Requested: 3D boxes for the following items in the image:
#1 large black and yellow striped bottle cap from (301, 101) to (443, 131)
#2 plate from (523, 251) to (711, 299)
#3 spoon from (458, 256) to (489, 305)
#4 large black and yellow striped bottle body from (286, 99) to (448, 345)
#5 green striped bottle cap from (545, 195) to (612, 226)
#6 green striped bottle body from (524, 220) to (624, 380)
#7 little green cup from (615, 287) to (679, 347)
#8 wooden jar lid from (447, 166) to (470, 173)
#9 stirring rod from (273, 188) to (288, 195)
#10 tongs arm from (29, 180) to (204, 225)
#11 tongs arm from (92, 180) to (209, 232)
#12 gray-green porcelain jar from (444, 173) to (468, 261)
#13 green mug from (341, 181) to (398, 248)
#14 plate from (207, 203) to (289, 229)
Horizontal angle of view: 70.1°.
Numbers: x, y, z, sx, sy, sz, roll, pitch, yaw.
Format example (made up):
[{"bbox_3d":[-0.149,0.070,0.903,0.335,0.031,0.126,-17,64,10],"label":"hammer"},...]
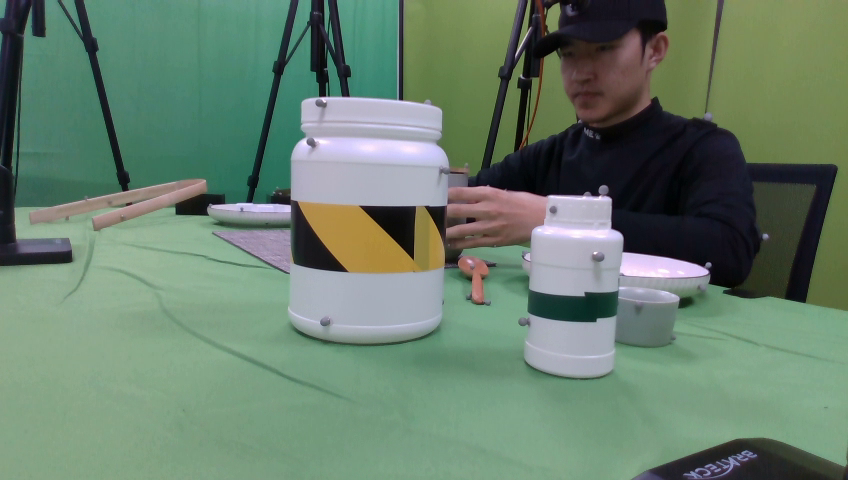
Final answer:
[{"bbox_3d":[-0.042,-0.100,0.491,0.115,0.019,0.115,1,8,0],"label":"large black and yellow striped bottle cap"},{"bbox_3d":[0.219,0.041,0.706,0.209,0.038,0.209,2,7,0],"label":"plate"},{"bbox_3d":[0.059,0.043,0.696,0.041,0.021,0.194,20,7,0],"label":"spoon"},{"bbox_3d":[-0.047,-0.018,0.501,0.131,0.184,0.130,2,7,0],"label":"large black and yellow striped bottle body"},{"bbox_3d":[0.106,-0.020,0.414,0.044,0.020,0.044,2,4,0],"label":"green striped bottle cap"},{"bbox_3d":[0.104,0.031,0.422,0.063,0.119,0.063,2,8,0],"label":"green striped bottle body"},{"bbox_3d":[0.180,0.064,0.506,0.061,0.038,0.061,2,8,0],"label":"little green cup"},{"bbox_3d":[0.011,-0.097,0.866,0.108,0.020,0.108,5,7,0],"label":"wooden jar lid"},{"bbox_3d":[-0.353,-0.122,1.518,0.006,0.014,0.176,1,7,2],"label":"stirring rod"},{"bbox_3d":[-0.609,-0.083,1.245,0.050,0.026,0.386,5,16,23],"label":"tongs arm"},{"bbox_3d":[-0.534,-0.076,1.221,0.028,0.028,0.388,-2,15,12],"label":"tongs arm"},{"bbox_3d":[0.009,-0.036,0.875,0.106,0.126,0.106,2,8,0],"label":"gray-green porcelain jar"},{"bbox_3d":[-0.089,-0.044,0.997,0.093,0.105,0.125,1,7,-8],"label":"green mug"},{"bbox_3d":[-0.342,-0.050,1.259,0.208,0.039,0.207,2,7,0],"label":"plate"}]
